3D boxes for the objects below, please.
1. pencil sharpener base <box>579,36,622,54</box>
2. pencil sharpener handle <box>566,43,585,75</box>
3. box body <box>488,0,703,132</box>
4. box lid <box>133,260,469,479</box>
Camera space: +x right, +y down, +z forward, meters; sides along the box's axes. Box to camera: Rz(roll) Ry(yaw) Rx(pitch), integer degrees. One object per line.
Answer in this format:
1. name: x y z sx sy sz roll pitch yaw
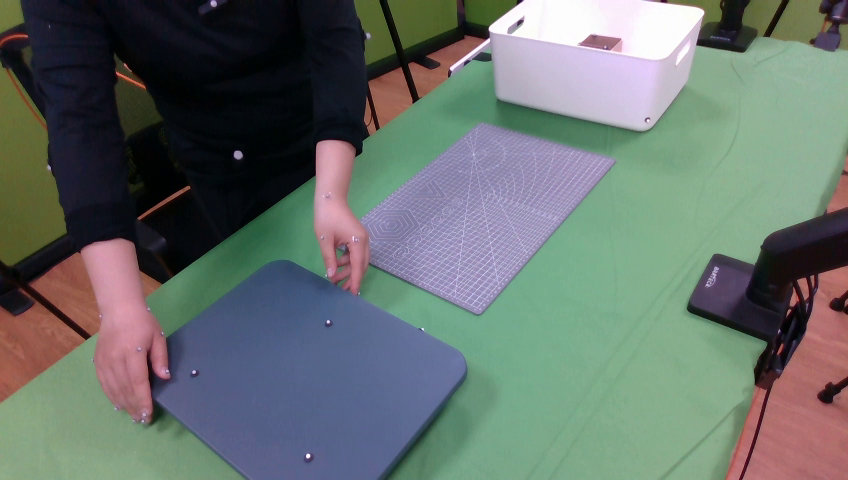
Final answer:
1. pencil sharpener base: 0.364 -0.363 1.267 0.076 0.107 0.061 20 48 30
2. pencil sharpener handle: 0.319 -0.386 1.283 0.030 0.068 0.036 20 39 30
3. box body: 0.346 -0.374 1.251 0.361 0.161 0.255 21 48 29
4. box lid: -0.156 0.160 0.747 0.368 0.015 0.264 23 49 31
